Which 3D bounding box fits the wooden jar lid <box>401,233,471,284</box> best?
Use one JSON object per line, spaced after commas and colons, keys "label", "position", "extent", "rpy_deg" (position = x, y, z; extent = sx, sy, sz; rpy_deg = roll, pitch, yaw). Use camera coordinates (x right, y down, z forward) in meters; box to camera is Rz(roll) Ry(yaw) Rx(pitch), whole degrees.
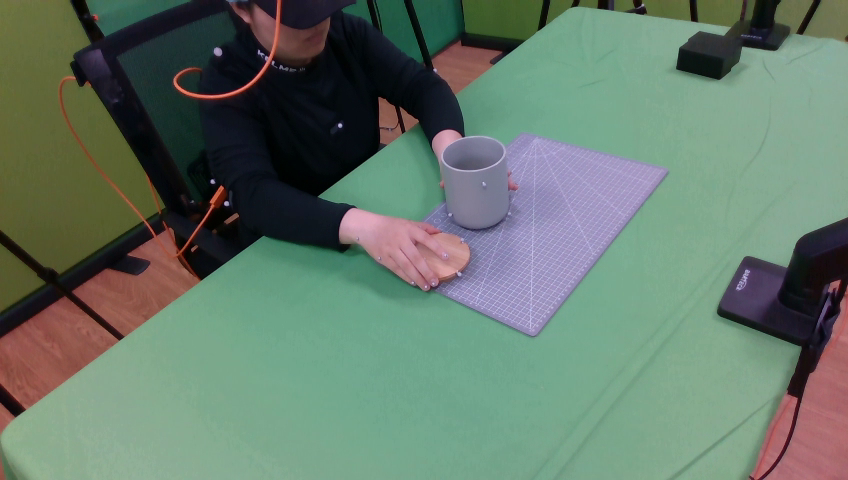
{"label": "wooden jar lid", "position": [0.019, 0.030, 0.942], "extent": [0.108, 0.021, 0.108], "rpy_deg": [-4, 40, 4]}

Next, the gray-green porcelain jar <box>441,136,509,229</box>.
{"label": "gray-green porcelain jar", "position": [0.086, -0.090, 0.988], "extent": [0.106, 0.127, 0.105], "rpy_deg": [-5, 40, 5]}
